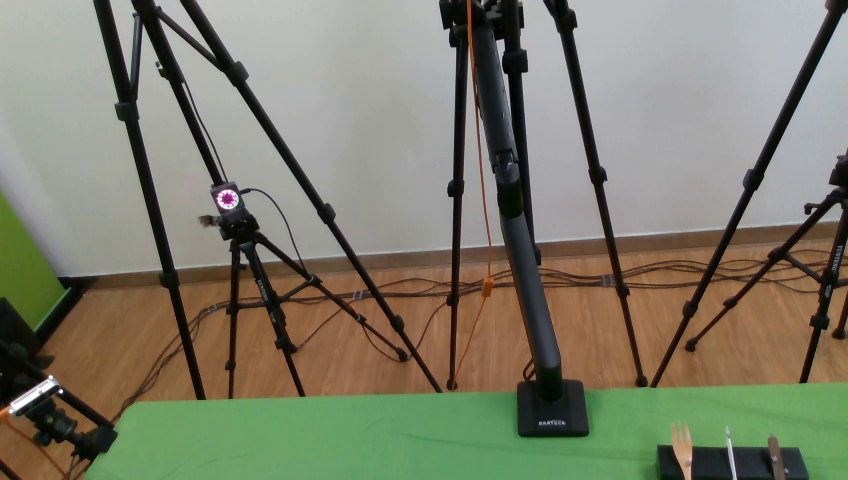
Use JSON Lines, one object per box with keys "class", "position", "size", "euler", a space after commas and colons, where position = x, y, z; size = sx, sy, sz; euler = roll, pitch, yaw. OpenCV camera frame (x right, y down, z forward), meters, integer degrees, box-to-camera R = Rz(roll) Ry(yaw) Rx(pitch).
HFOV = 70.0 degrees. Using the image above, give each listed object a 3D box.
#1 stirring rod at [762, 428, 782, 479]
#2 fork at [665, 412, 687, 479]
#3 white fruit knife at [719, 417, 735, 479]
{"class": "stirring rod", "position": [0.502, 0.356, 0.854], "size": [0.014, 0.006, 0.174], "euler": [-7, 62, 19]}
{"class": "fork", "position": [0.380, 0.356, 0.883], "size": [0.028, 0.019, 0.205], "euler": [-2, 57, 7]}
{"class": "white fruit knife", "position": [0.440, 0.355, 0.866], "size": [0.016, 0.028, 0.205], "euler": [0, 54, 10]}
